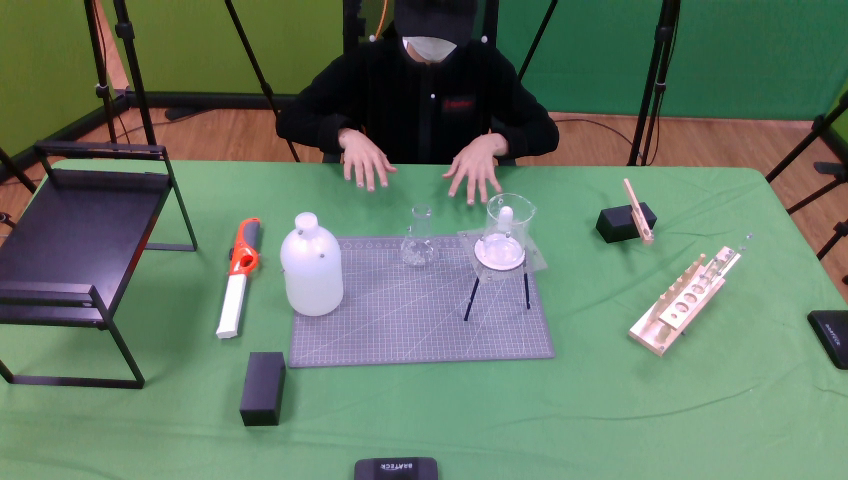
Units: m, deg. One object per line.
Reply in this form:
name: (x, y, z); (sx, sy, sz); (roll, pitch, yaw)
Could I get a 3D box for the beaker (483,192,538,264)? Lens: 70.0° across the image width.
beaker: (0.136, -0.017, 0.980); (0.084, 0.101, 0.073); (-6, 45, -9)

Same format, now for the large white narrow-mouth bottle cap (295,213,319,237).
large white narrow-mouth bottle cap: (-0.186, -0.024, 0.961); (0.038, 0.024, 0.037); (2, 46, -2)

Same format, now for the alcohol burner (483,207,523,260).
alcohol burner: (0.152, -0.018, 1.156); (0.078, 0.120, 0.077); (0, 47, 0)

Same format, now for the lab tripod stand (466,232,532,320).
lab tripod stand: (0.125, 0.059, 1.065); (0.148, 0.132, 0.147); (1, 45, 0)

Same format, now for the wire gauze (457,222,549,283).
wire gauze: (0.131, 0.016, 1.017); (0.121, 0.011, 0.124); (-10, 44, -15)

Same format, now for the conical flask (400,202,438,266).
conical flask: (-0.007, -0.014, 1.135); (0.075, 0.122, 0.075); (2, 46, -2)

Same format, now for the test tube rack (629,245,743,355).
test tube rack: (0.474, 0.095, 1.091); (0.242, 0.085, 0.066); (-34, 56, -31)

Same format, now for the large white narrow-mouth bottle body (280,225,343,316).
large white narrow-mouth bottle body: (-0.191, 0.035, 1.024); (0.102, 0.195, 0.101); (2, 46, -2)

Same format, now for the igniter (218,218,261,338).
igniter: (-0.336, 0.059, 1.111); (0.057, 0.025, 0.274); (-7, 46, 4)

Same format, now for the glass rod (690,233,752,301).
glass rod: (0.507, 0.053, 1.041); (0.008, 0.200, 0.008); (5, 51, -6)

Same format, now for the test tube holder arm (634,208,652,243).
test tube holder arm: (0.428, -0.030, 1.189); (0.010, 0.015, 0.087); (2, 47, -2)

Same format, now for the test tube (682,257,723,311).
test tube: (0.474, 0.080, 1.037); (0.017, 0.151, 0.017); (1, 50, -1)

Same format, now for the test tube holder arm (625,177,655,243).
test tube holder arm: (0.433, -0.062, 1.220); (0.013, 0.015, 0.177); (1, 47, -3)

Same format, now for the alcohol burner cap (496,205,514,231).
alcohol burner cap: (0.153, -0.045, 1.131); (0.034, 0.048, 0.033); (2, 40, -1)
